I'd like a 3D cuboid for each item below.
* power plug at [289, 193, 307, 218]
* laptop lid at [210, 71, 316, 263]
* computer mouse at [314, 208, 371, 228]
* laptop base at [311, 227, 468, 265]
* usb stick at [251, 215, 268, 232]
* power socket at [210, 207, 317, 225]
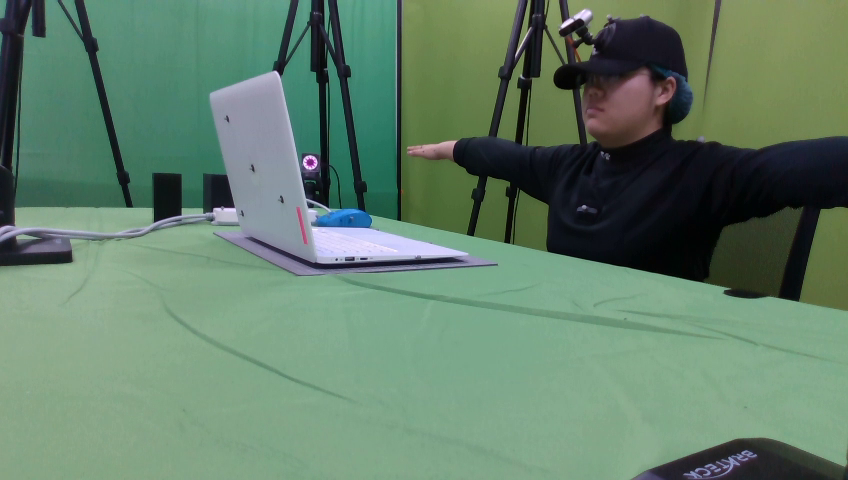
[{"bbox_3d":[-0.281,-0.076,1.340,0.035,0.052,0.072,3,6,-17],"label":"power plug"},{"bbox_3d":[-0.240,-0.104,0.861,0.013,0.241,0.355,-16,17,-29],"label":"laptop lid"},{"bbox_3d":[-0.173,-0.046,1.284,0.118,0.041,0.062,-7,13,-30],"label":"computer mouse"},{"bbox_3d":[-0.123,0.007,0.952,0.237,0.023,0.352,2,6,-32],"label":"laptop base"},{"bbox_3d":[-0.290,-0.028,1.070,0.021,0.027,0.059,-2,12,-29],"label":"usb stick"},{"bbox_3d":[-0.335,-0.051,1.281,0.228,0.032,0.072,-1,8,-28],"label":"power socket"}]
